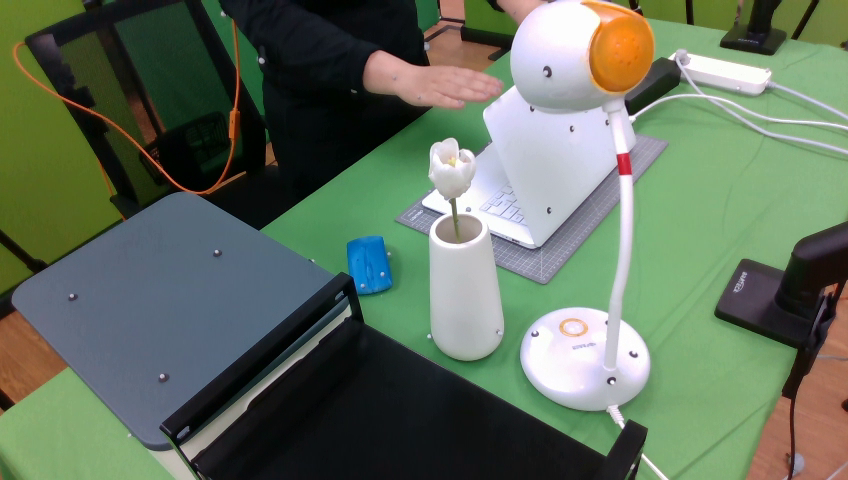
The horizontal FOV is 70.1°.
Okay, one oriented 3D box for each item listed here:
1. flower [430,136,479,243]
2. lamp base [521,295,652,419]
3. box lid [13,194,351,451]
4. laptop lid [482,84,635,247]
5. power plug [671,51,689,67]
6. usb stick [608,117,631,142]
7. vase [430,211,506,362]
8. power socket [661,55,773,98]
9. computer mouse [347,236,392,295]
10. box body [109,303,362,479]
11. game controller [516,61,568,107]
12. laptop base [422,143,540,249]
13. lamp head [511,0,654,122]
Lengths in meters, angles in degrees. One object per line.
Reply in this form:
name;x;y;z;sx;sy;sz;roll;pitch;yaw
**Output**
flower;0.041;0.011;0.691;0.044;0.363;0.038;16;62;14
lamp base;0.200;0.095;0.710;0.161;0.181;0.177;-16;43;-10
box lid;-0.292;0.067;0.717;0.368;0.015;0.264;25;50;33
laptop lid;0.235;-0.179;0.977;0.013;0.242;0.358;-1;31;48
power plug;0.541;-0.378;1.301;0.073;0.053;0.035;-33;46;-23
usb stick;0.370;-0.207;1.147;0.021;0.027;0.059;27;55;32
vase;0.054;0.062;0.757;0.098;0.201;0.097;-3;40;3
power socket;0.619;-0.352;1.289;0.225;0.033;0.072;26;51;33
computer mouse;-0.086;0.035;0.936;0.063;0.041;0.116;-8;44;-5
box body;-0.285;0.123;0.766;0.361;0.161;0.255;25;49;33
game controller;0.259;-0.352;1.336;0.097;0.052;0.154;-3;41;2
laptop base;0.192;-0.116;1.087;0.233;0.023;0.355;21;48;34
lamp head;0.155;-0.168;0.564;0.113;0.113;0.122;-18;23;-12
